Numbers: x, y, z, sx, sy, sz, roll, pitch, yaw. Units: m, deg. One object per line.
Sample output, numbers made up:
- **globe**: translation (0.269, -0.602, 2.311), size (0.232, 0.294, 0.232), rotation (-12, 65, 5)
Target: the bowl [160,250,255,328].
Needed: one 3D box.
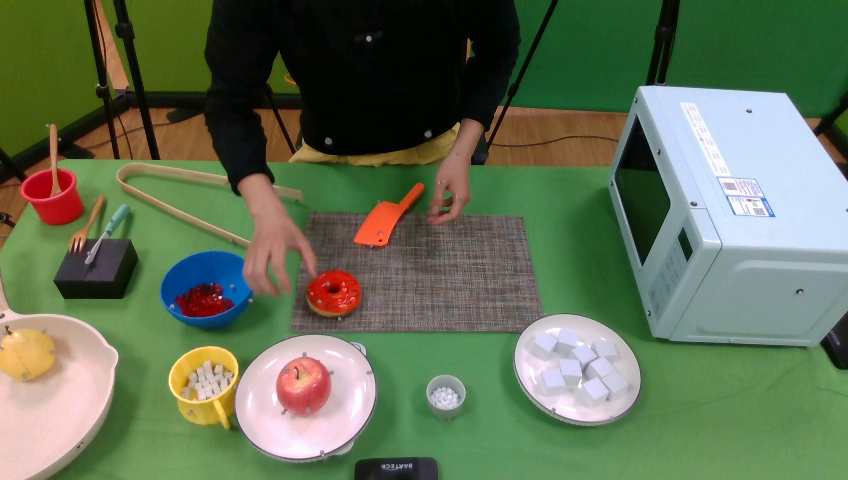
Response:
- **bowl**: translation (-0.362, 0.098, 1.039), size (0.151, 0.077, 0.150), rotation (2, 45, -2)

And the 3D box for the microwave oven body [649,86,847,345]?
- **microwave oven body**: translation (0.568, -0.053, 1.118), size (0.326, 0.261, 0.439), rotation (2, 45, -1)

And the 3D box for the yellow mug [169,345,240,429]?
- **yellow mug**: translation (-0.323, 0.230, 0.922), size (0.100, 0.064, 0.130), rotation (-24, 53, -26)

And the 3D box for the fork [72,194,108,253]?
- **fork**: translation (-0.634, -0.036, 1.158), size (0.028, 0.019, 0.206), rotation (-8, 31, -8)

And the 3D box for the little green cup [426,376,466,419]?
- **little green cup**: translation (0.033, 0.248, 0.950), size (0.061, 0.039, 0.061), rotation (2, 46, -2)

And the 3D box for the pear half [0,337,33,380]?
- **pear half**: translation (-0.631, 0.184, 0.921), size (0.070, 0.088, 0.031), rotation (29, 49, 19)

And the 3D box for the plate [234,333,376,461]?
- **plate**: translation (-0.174, 0.235, 0.907), size (0.209, 0.038, 0.208), rotation (2, 46, -2)

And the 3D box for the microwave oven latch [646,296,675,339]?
- **microwave oven latch**: translation (0.412, 0.134, 1.061), size (0.030, 0.029, 0.078), rotation (4, 45, 1)

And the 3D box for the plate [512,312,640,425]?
- **plate**: translation (0.246, 0.213, 0.999), size (0.208, 0.039, 0.206), rotation (2, 46, -2)

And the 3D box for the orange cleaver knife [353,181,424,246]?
- **orange cleaver knife**: translation (-0.070, -0.059, 1.245), size (0.077, 0.012, 0.210), rotation (18, 50, 21)

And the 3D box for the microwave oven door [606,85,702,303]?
- **microwave oven door**: translation (0.423, -0.094, 1.140), size (0.039, 0.245, 0.353), rotation (2, 46, -1)

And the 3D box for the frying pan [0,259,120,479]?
- **frying pan**: translation (-0.647, 0.164, 0.936), size (0.307, 0.103, 0.485), rotation (-19, 58, -22)

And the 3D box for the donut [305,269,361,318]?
- **donut**: translation (-0.160, 0.095, 1.075), size (0.099, 0.048, 0.098), rotation (4, 44, -4)

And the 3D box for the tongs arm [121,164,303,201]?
- **tongs arm**: translation (-0.444, -0.114, 1.267), size (0.384, 0.026, 0.050), rotation (12, 49, 8)

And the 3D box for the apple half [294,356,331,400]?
- **apple half**: translation (-0.160, 0.202, 0.902), size (0.081, 0.082, 0.033), rotation (36, 57, 27)

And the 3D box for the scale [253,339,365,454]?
- **scale**: translation (-0.175, 0.236, 0.951), size (0.149, 0.032, 0.199), rotation (4, 46, 0)

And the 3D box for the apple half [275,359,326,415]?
- **apple half**: translation (-0.186, 0.222, 0.882), size (0.080, 0.075, 0.053), rotation (38, 58, 25)

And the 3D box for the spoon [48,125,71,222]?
- **spoon**: translation (-0.718, -0.131, 1.188), size (0.041, 0.021, 0.193), rotation (-3, 90, -7)

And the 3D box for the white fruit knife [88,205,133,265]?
- **white fruit knife**: translation (-0.584, -0.013, 1.129), size (0.016, 0.027, 0.206), rotation (0, 31, -5)

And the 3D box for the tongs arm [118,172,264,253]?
- **tongs arm**: translation (-0.473, -0.056, 1.210), size (0.386, 0.028, 0.028), rotation (23, 55, 18)

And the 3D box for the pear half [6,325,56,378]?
- **pear half**: translation (-0.608, 0.158, 0.935), size (0.076, 0.110, 0.056), rotation (31, 51, 20)
